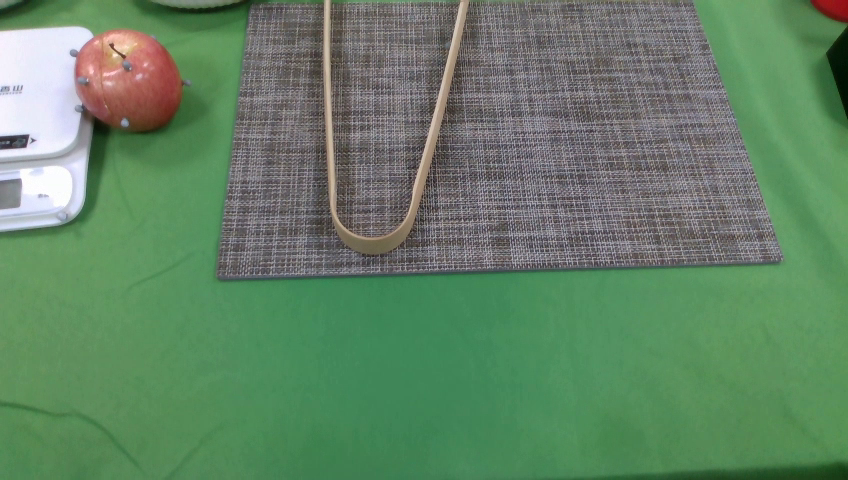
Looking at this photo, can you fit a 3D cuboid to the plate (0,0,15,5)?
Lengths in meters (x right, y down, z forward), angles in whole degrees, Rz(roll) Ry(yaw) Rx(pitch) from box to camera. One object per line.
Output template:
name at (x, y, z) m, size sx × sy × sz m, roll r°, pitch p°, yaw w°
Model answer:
plate at (-0.447, -0.301, 0.611) m, size 0.208 × 0.039 × 0.206 m, roll 1°, pitch 62°, yaw -1°

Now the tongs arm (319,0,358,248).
tongs arm at (-0.082, -0.167, 0.555) m, size 0.028 × 0.028 × 0.384 m, roll -2°, pitch 63°, yaw -7°

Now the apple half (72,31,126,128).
apple half at (-0.271, -0.128, 0.505) m, size 0.033 × 0.082 × 0.080 m, roll -10°, pitch 63°, yaw -10°

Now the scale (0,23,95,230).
scale at (-0.357, -0.099, 0.512) m, size 0.149 × 0.032 × 0.199 m, roll -6°, pitch 63°, yaw -5°

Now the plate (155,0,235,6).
plate at (-0.222, -0.311, 0.624) m, size 0.209 × 0.038 × 0.207 m, roll 1°, pitch 62°, yaw -1°

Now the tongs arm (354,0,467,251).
tongs arm at (0.003, -0.162, 0.553) m, size 0.051 × 0.027 × 0.382 m, roll 9°, pitch 63°, yaw 2°

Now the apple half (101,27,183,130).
apple half at (-0.233, -0.135, 0.512) m, size 0.053 × 0.075 × 0.080 m, roll -10°, pitch 59°, yaw -10°
